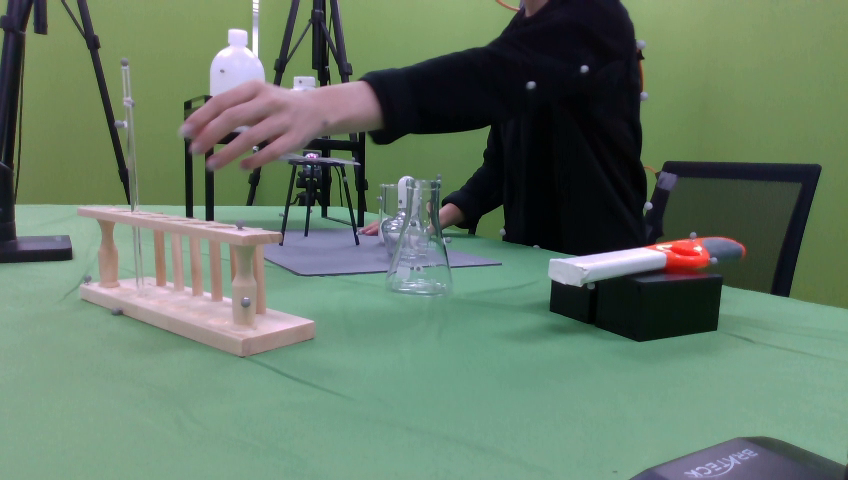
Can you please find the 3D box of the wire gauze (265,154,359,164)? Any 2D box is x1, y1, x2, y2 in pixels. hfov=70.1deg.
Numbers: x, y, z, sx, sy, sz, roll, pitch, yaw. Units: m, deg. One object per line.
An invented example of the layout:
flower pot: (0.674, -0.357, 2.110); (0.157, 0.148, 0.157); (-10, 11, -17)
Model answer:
wire gauze: (-0.181, -0.129, 0.969); (0.126, 0.011, 0.121); (-1, 6, -27)

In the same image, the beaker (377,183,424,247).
beaker: (-0.037, -0.041, 0.995); (0.074, 0.100, 0.083); (-5, 11, -44)

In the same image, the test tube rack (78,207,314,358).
test tube rack: (-0.197, 0.023, 0.499); (0.241, 0.085, 0.067); (8, 9, 37)

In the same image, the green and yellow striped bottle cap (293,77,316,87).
green and yellow striped bottle cap: (-0.247, -0.326, 1.251); (0.045, 0.020, 0.045); (0, 10, 0)

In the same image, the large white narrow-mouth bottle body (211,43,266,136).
large white narrow-mouth bottle body: (-0.361, -0.302, 1.176); (0.102, 0.194, 0.102); (1, 7, 0)

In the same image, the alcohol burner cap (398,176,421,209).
alcohol burner cap: (-0.022, -0.068, 0.865); (0.034, 0.048, 0.034); (-5, 7, 1)

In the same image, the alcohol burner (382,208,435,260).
alcohol burner: (-0.023, -0.032, 0.872); (0.078, 0.119, 0.078); (0, 6, 0)

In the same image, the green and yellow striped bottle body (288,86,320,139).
green and yellow striped bottle body: (-0.250, -0.272, 1.259); (0.063, 0.119, 0.063); (2, 8, 0)

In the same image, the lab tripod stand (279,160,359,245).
lab tripod stand: (-0.176, -0.062, 0.973); (0.148, 0.131, 0.148); (1, 7, 0)

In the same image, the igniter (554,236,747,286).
igniter: (0.221, 0.017, 0.558); (0.278, 0.025, 0.057); (-5, 15, -39)

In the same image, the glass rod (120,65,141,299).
glass rod: (-0.249, -0.047, 0.513); (0.008, 0.199, 0.008); (-1, 4, 0)

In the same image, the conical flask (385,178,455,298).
conical flask: (-0.002, -0.004, 0.639); (0.075, 0.122, 0.075); (2, 7, 0)

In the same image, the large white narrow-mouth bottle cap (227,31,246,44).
large white narrow-mouth bottle cap: (-0.361, -0.388, 1.165); (0.038, 0.024, 0.037); (1, 7, 0)
